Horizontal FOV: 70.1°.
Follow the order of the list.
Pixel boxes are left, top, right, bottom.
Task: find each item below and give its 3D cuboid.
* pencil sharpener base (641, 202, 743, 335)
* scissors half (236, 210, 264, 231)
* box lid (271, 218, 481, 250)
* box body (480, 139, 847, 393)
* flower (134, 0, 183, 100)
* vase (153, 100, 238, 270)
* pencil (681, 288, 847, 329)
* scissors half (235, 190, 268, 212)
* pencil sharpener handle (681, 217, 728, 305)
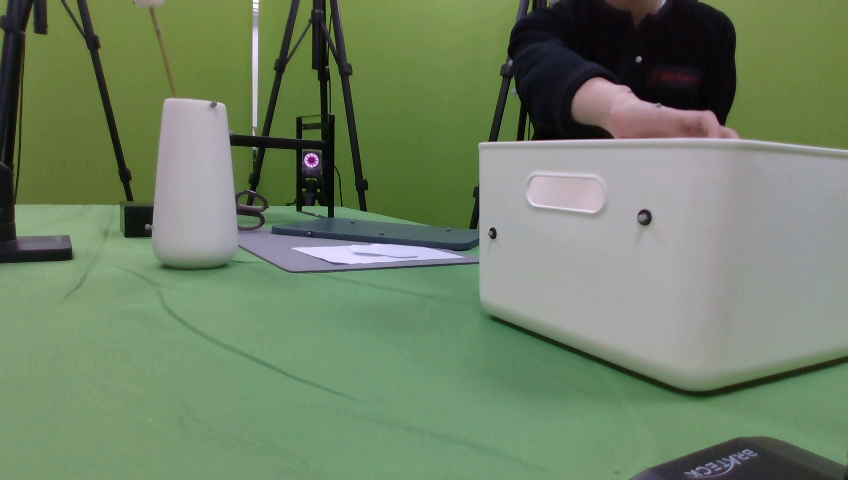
[{"bbox_3d":[0.231,0.023,0.528,0.061,0.107,0.077,3,8,8],"label":"pencil sharpener base"},{"bbox_3d":[-0.369,-0.051,1.065,0.176,0.040,0.012,19,15,-28],"label":"scissors half"},{"bbox_3d":[-0.072,-0.014,1.141,0.371,0.015,0.264,5,7,16],"label":"box lid"},{"bbox_3d":[0.255,0.001,0.541,0.366,0.160,0.253,-2,9,-31],"label":"box body"},{"bbox_3d":[-0.282,-0.147,0.713,0.038,0.362,0.044,-23,24,-31],"label":"flower"},{"bbox_3d":[-0.278,-0.066,0.736,0.098,0.200,0.098,2,9,0],"label":"vase"},{"bbox_3d":[0.334,0.065,0.609,0.012,0.012,0.193,-1,5,-23],"label":"pencil"},{"bbox_3d":[-0.363,-0.070,1.060,0.176,0.040,0.013,0,18,-23],"label":"scissors half"},{"bbox_3d":[0.222,0.017,0.476,0.036,0.067,0.030,8,8,7],"label":"pencil sharpener handle"}]
